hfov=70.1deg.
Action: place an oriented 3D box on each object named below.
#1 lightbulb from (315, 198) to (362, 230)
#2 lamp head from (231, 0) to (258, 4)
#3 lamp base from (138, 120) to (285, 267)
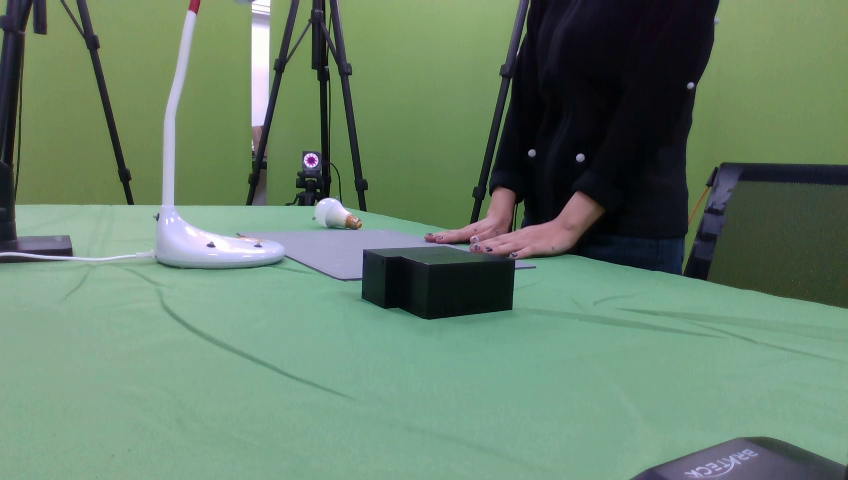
[{"bbox_3d":[-0.171,-0.048,1.220,0.107,0.059,0.060,22,15,22],"label":"lightbulb"},{"bbox_3d":[-0.257,-0.377,0.773,0.112,0.112,0.123,5,-2,26],"label":"lamp head"},{"bbox_3d":[-0.271,-0.061,0.772,0.180,0.180,0.160,-7,12,-39],"label":"lamp base"}]
